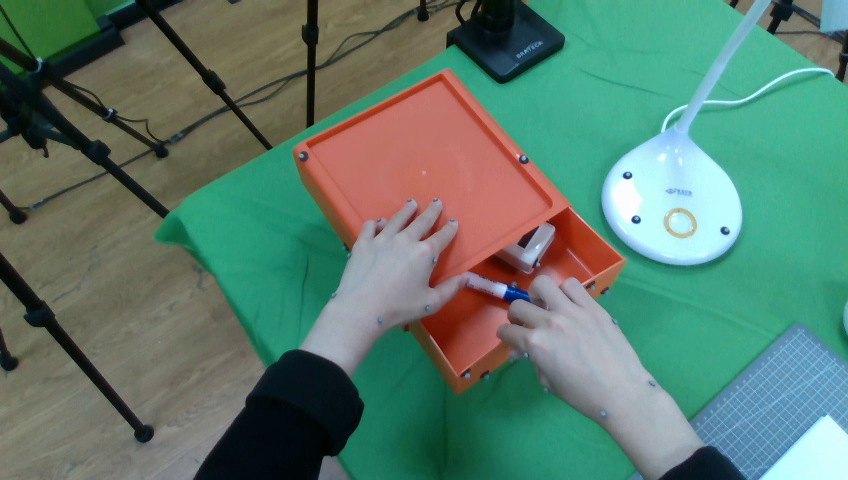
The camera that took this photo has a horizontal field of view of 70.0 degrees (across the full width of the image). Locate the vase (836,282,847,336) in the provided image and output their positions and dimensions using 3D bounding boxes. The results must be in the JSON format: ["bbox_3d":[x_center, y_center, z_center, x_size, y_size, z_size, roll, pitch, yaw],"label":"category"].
[{"bbox_3d":[0.480,0.041,0.563,0.098,0.201,0.097,0,60,1],"label":"vase"}]

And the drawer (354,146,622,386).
[{"bbox_3d":[0.047,0.003,0.599,0.194,0.074,0.210,-32,66,-15],"label":"drawer"}]

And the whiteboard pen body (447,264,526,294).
[{"bbox_3d":[0.034,0.030,0.601,0.140,0.017,0.017,18,63,15],"label":"whiteboard pen body"}]

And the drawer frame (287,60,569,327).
[{"bbox_3d":[0.001,-0.053,0.629,0.202,0.083,0.212,-32,70,-15],"label":"drawer frame"}]

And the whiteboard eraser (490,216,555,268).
[{"bbox_3d":[0.080,-0.009,0.644,0.111,0.042,0.055,19,68,41],"label":"whiteboard eraser"}]

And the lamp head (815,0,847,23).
[{"bbox_3d":[0.305,-0.202,0.374,0.112,0.112,0.123,-10,100,-5],"label":"lamp head"}]

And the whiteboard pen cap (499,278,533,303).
[{"bbox_3d":[0.090,0.049,0.599,0.033,0.018,0.018,18,63,8],"label":"whiteboard pen cap"}]

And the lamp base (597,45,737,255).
[{"bbox_3d":[0.281,-0.101,0.648,0.161,0.182,0.177,-4,59,-2],"label":"lamp base"}]
